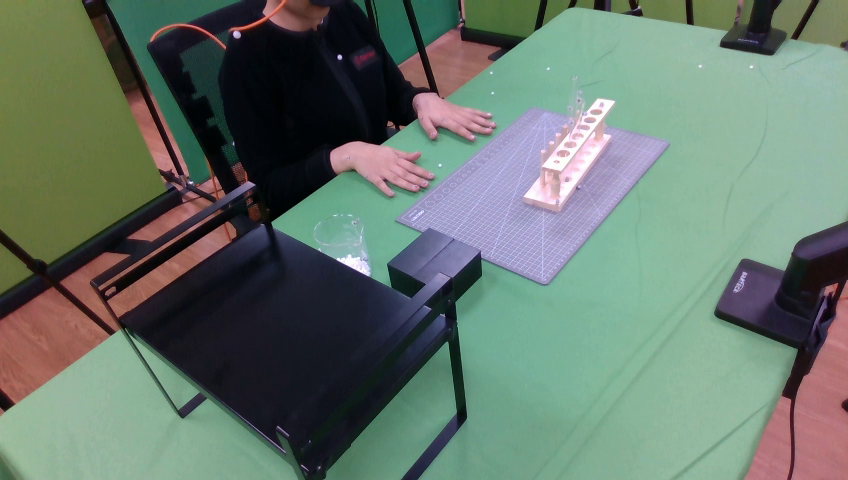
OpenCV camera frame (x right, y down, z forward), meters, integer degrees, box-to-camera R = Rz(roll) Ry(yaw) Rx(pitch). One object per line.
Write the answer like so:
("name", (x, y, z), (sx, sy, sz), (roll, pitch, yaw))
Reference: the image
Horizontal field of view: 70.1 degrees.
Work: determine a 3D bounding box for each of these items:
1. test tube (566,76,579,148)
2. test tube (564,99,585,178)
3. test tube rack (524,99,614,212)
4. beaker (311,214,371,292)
("test tube", (0.261, -0.221, 1.074), (0.017, 0.151, 0.017), (-4, 41, 4))
("test tube", (0.248, -0.164, 1.001), (0.017, 0.151, 0.017), (-1, 42, 1))
("test tube rack", (0.259, -0.158, 1.069), (0.066, 0.085, 0.243), (19, 47, 28))
("beaker", (-0.118, 0.022, 0.908), (0.083, 0.101, 0.074), (26, 51, 32))
